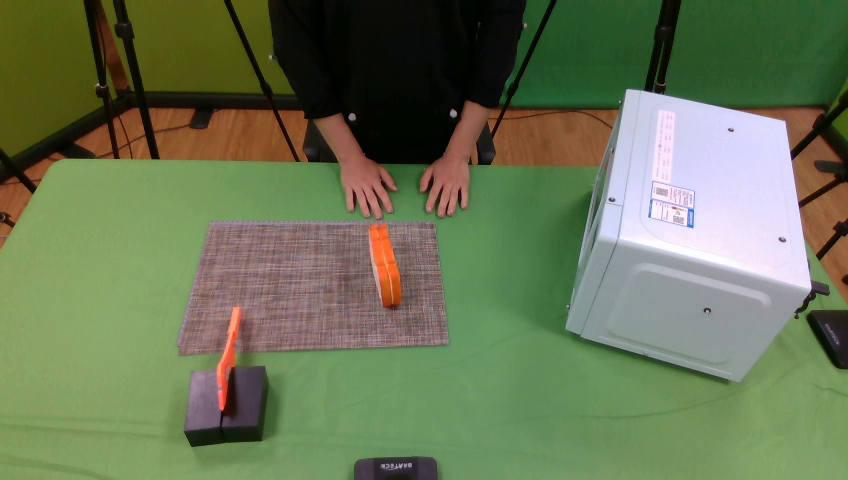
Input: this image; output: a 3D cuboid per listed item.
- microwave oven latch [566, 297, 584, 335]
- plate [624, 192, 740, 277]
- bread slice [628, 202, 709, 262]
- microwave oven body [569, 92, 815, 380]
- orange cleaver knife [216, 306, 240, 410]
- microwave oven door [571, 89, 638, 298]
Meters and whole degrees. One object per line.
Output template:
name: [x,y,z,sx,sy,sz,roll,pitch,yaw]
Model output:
microwave oven latch: [0.268,0.126,1.059,0.030,0.029,0.079,16,46,12]
plate: [0.480,-0.007,1.143,0.208,0.039,0.206,0,48,0]
bread slice: [0.474,-0.022,1.165,0.134,0.018,0.106,-28,54,-16]
microwave oven body: [0.468,-0.021,1.082,0.325,0.261,0.440,15,46,11]
orange cleaver knife: [-0.307,0.180,0.957,0.012,0.077,0.210,-2,25,-8]
microwave oven door: [0.343,-0.091,1.133,0.039,0.245,0.354,15,47,10]
